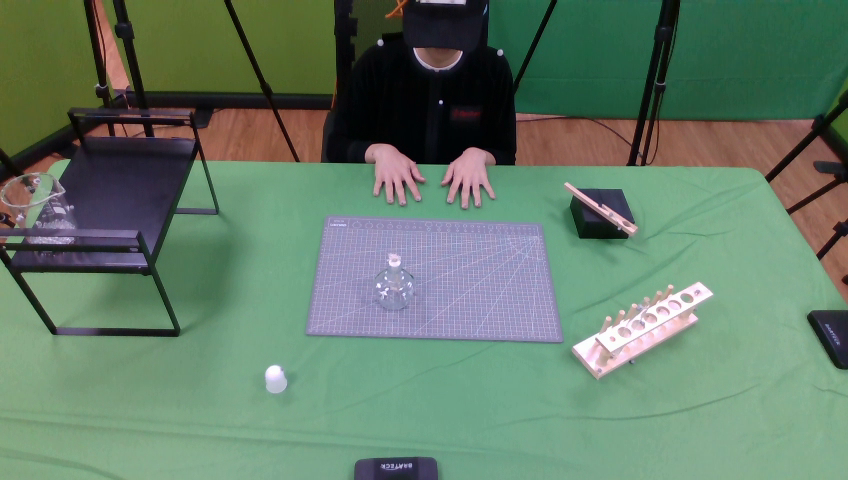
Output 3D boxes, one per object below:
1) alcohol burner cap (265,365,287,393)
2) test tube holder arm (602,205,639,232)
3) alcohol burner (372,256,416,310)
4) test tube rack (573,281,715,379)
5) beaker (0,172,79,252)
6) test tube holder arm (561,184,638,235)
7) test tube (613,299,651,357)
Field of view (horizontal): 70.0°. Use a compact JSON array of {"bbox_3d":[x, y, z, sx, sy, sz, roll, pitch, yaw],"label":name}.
[{"bbox_3d":[-0.236,0.216,0.956,0.034,0.048,0.033,3,45,-3],"label":"alcohol burner cap"},{"bbox_3d":[0.385,-0.041,1.196,0.010,0.015,0.087,-31,56,-32],"label":"test tube holder arm"},{"bbox_3d":[-0.052,0.068,1.057,0.078,0.120,0.077,1,48,-1],"label":"alcohol burner"},{"bbox_3d":[0.378,0.140,1.038,0.242,0.085,0.066,-22,51,-23],"label":"test tube rack"},{"bbox_3d":[-0.557,-0.038,0.889,0.084,0.101,0.073,-3,47,-8],"label":"beaker"},{"bbox_3d":[0.349,-0.063,1.213,0.177,0.015,0.013,36,52,26],"label":"test tube holder arm"},{"bbox_3d":[0.328,0.143,0.962,0.017,0.151,0.017,3,48,-3],"label":"test tube"}]
